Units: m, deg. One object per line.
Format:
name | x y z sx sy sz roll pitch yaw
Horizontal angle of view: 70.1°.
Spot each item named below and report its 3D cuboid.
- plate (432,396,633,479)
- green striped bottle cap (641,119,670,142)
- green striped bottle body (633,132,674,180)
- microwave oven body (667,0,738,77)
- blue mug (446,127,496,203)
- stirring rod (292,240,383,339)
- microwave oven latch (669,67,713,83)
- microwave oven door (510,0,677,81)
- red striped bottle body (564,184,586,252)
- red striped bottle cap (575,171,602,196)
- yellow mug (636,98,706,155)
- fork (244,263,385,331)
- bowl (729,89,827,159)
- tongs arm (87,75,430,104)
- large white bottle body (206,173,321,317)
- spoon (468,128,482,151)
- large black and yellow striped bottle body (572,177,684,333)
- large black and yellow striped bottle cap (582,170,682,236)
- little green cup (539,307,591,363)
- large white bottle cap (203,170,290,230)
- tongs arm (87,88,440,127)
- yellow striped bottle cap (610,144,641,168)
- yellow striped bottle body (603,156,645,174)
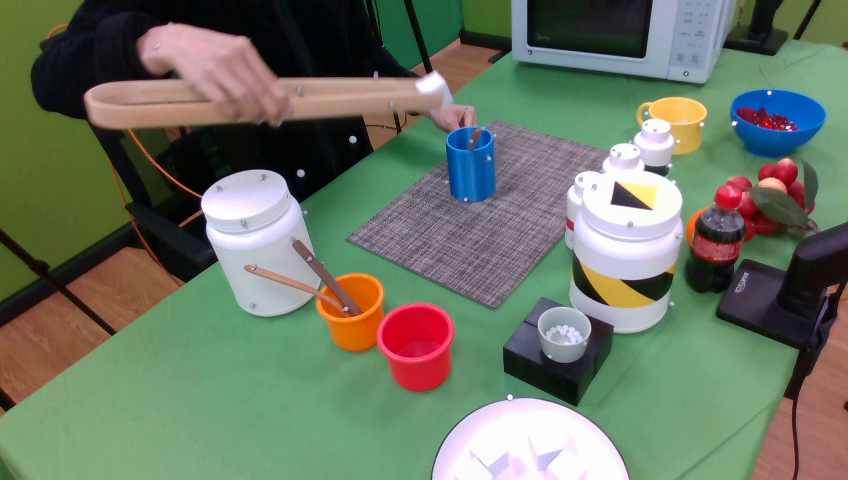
plate | 0.112 0.261 0.634 0.209 0.038 0.208 -5 40 4
green striped bottle cap | 0.371 -0.175 0.968 0.044 0.020 0.044 -5 41 5
green striped bottle body | 0.376 -0.135 1.001 0.063 0.120 0.063 -5 40 5
microwave oven body | 0.462 -0.552 1.369 0.439 0.261 0.326 15 45 26
blue mug | 0.081 -0.141 1.061 0.082 0.106 0.116 -9 40 -1
stirring rod | -0.118 0.068 0.826 0.176 0.006 0.014 49 59 -4
microwave oven latch | 0.556 -0.348 1.261 0.078 0.029 0.030 16 46 27
microwave oven door | 0.354 -0.478 1.290 0.353 0.245 0.039 15 45 25
red striped bottle body | 0.247 -0.041 0.910 0.063 0.120 0.062 -3 39 3
red striped bottle cap | 0.242 -0.081 0.876 0.044 0.018 0.044 -5 44 5
yellow mug | 0.453 -0.217 1.128 0.100 0.064 0.129 -34 46 -27
fork | -0.142 0.077 0.807 0.209 0.018 0.028 30 42 -24
bowl | 0.615 -0.197 1.069 0.151 0.077 0.150 -5 40 5
tongs arm | -0.168 -0.168 0.699 0.387 0.026 0.050 -5 42 -19
large white bottle body | -0.233 0.007 0.876 0.130 0.185 0.130 -5 40 4
spoon | 0.078 -0.145 0.998 0.042 0.194 0.021 -9 75 -2
large black and yellow striped bottle body | 0.262 0.017 0.788 0.131 0.185 0.130 -5 40 4
large black and yellow striped bottle cap | 0.252 -0.048 0.735 0.115 0.019 0.114 -3 40 3
little green cup | 0.167 0.114 0.721 0.061 0.039 0.061 -4 43 4
large white bottle cap | -0.241 -0.057 0.822 0.115 0.018 0.114 -4 41 4
tongs arm | -0.159 -0.154 0.683 0.390 0.028 0.028 -8 47 -23
yellow striped bottle cap | 0.307 -0.128 0.923 0.044 0.019 0.044 -5 39 5
yellow striped bottle body | 0.313 -0.089 0.955 0.063 0.121 0.062 -4 40 4
